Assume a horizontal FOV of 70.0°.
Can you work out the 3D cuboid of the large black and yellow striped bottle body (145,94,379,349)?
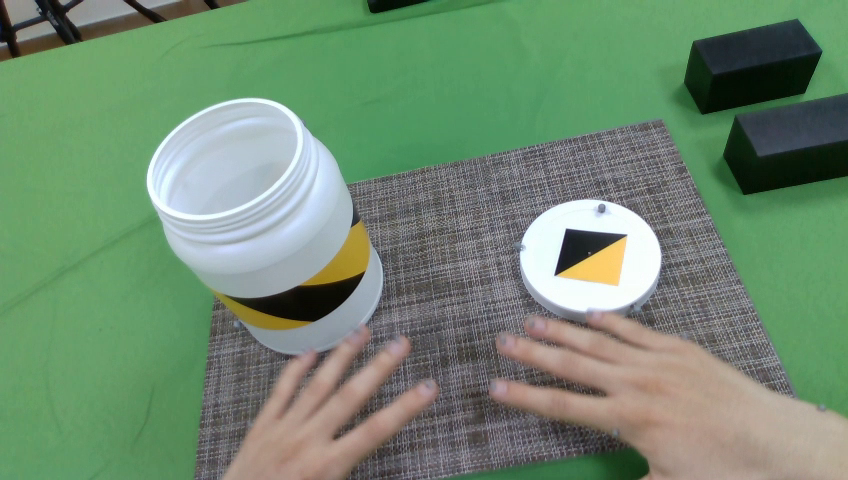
[{"bbox_3d":[-0.117,-0.008,0.472,0.130,0.186,0.129,-5,56,8],"label":"large black and yellow striped bottle body"}]

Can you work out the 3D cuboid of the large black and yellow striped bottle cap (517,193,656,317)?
[{"bbox_3d":[0.136,0.010,0.512,0.115,0.019,0.114,-5,57,8],"label":"large black and yellow striped bottle cap"}]
